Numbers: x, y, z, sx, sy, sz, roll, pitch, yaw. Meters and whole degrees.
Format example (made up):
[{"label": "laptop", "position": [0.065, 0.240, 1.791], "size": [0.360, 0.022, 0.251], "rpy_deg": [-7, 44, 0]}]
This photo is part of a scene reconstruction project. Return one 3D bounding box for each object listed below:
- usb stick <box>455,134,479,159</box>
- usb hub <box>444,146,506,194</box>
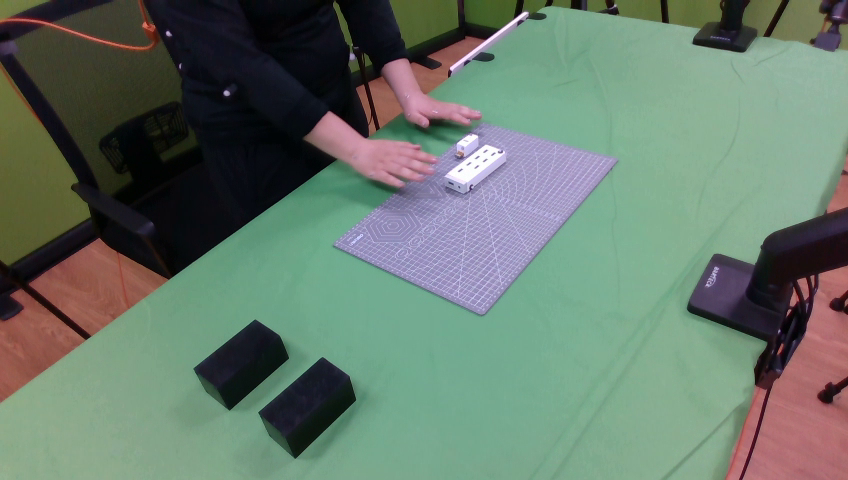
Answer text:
[{"label": "usb stick", "position": [0.080, -0.177, 1.159], "size": [0.021, 0.027, 0.059], "rpy_deg": [25, 52, 31]}, {"label": "usb hub", "position": [0.095, -0.129, 1.101], "size": [0.049, 0.025, 0.125], "rpy_deg": [27, 51, 33]}]
